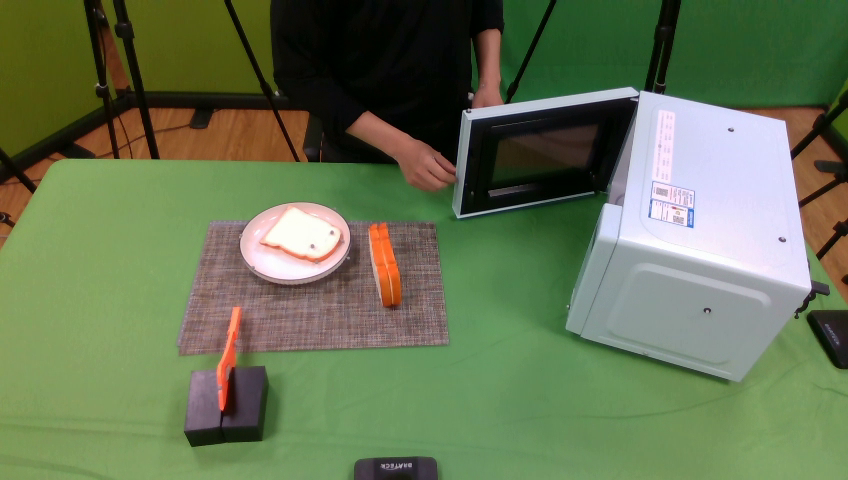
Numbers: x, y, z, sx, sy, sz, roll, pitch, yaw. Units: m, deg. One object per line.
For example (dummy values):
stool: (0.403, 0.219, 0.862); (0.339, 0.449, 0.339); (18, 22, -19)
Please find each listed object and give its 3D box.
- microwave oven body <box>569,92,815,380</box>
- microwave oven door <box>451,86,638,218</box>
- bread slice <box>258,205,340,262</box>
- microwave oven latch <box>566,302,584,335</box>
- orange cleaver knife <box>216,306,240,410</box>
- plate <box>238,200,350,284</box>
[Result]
microwave oven body: (0.468, -0.022, 1.082); (0.325, 0.261, 0.440); (15, 46, 11)
microwave oven door: (0.235, -0.173, 1.204); (0.356, 0.245, 0.039); (-11, 48, -14)
bread slice: (-0.232, -0.009, 1.168); (0.134, 0.018, 0.106); (19, 51, 10)
microwave oven latch: (0.268, 0.126, 1.059); (0.030, 0.029, 0.079); (16, 46, 12)
orange cleaver knife: (-0.307, 0.180, 0.957); (0.012, 0.077, 0.210); (-2, 25, -8)
plate: (-0.245, 0.007, 1.156); (0.208, 0.039, 0.206); (2, 46, -2)
